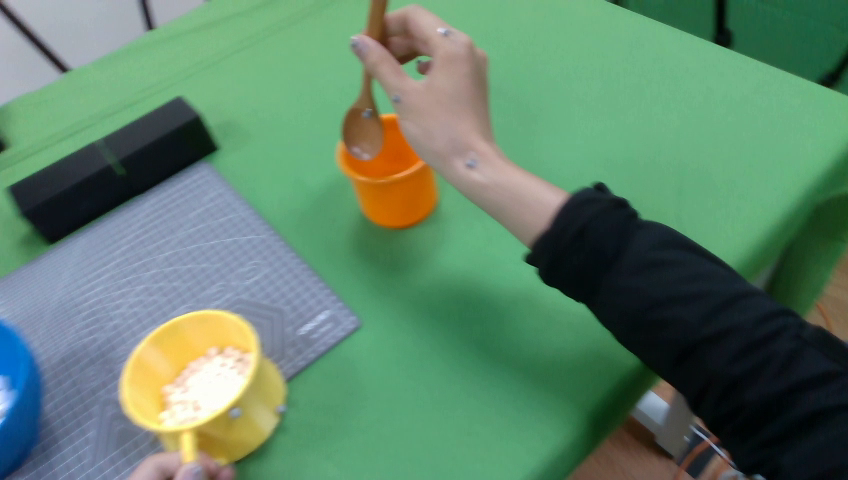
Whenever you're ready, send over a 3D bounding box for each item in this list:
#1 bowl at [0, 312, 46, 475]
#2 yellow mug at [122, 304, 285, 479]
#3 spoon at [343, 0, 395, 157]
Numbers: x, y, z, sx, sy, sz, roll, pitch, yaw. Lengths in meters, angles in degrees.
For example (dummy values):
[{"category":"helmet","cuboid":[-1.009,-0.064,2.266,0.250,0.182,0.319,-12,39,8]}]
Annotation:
[{"category":"bowl","cuboid":[-0.351,0.135,0.459,0.151,0.077,0.150,-4,50,6]},{"category":"yellow mug","cuboid":[-0.160,0.118,0.447,0.100,0.064,0.129,-14,49,-2]},{"category":"spoon","cuboid":[-0.037,-0.131,0.460,0.041,0.195,0.021,30,59,6]}]
